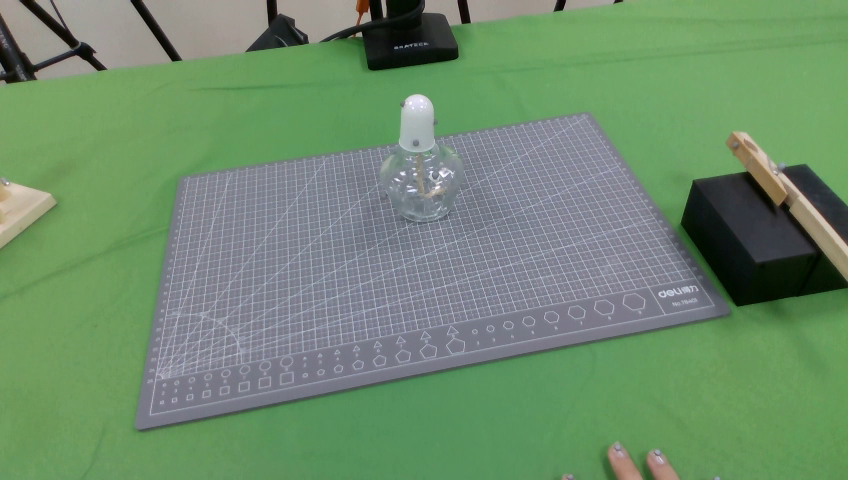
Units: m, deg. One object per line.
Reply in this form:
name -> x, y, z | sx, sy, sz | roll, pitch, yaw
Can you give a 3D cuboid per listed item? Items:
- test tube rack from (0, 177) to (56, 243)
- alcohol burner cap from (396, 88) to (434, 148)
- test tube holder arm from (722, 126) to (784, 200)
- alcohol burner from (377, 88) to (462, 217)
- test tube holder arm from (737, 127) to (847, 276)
test tube rack -> -0.458, -0.001, 0.526 | 0.066, 0.086, 0.241 | 15, 48, 19
alcohol burner cap -> -0.008, -0.105, 0.516 | 0.034, 0.048, 0.033 | 1, 44, -1
test tube holder arm -> 0.274, -0.065, 0.503 | 0.010, 0.015, 0.087 | -3, 45, -9
alcohol burner -> -0.005, -0.080, 0.542 | 0.078, 0.120, 0.077 | -3, 43, 3
test tube holder arm -> 0.287, -0.034, 0.473 | 0.013, 0.015, 0.176 | -3, 45, -10
